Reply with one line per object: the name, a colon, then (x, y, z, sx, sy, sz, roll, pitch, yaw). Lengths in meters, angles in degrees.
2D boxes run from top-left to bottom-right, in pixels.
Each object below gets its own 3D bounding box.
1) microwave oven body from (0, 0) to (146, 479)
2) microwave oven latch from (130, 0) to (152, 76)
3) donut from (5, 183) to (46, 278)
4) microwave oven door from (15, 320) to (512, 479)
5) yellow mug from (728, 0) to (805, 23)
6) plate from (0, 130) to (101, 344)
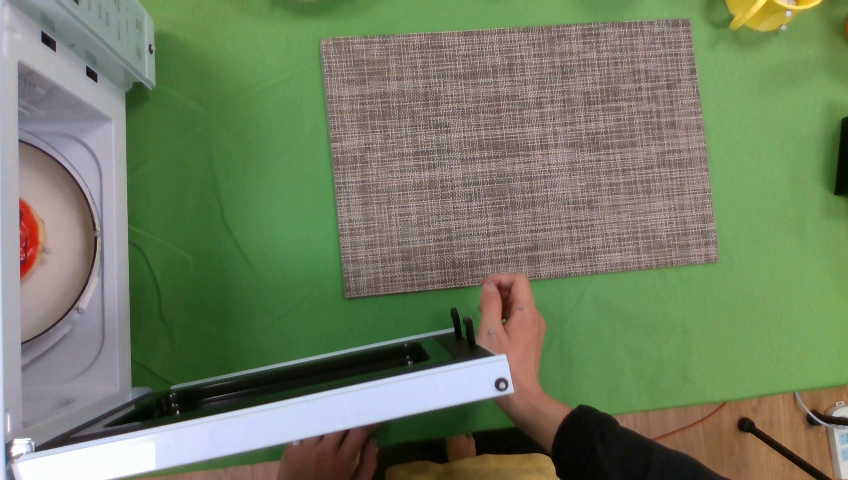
microwave oven body: (-0.438, -0.040, 0.530, 0.326, 0.260, 0.441, -2, 88, -6)
microwave oven latch: (-0.307, -0.218, 0.646, 0.030, 0.029, 0.079, 0, 88, -6)
donut: (-0.412, -0.009, 0.573, 0.099, 0.048, 0.099, 0, 93, -2)
microwave oven door: (-0.117, 0.134, 0.549, 0.356, 0.244, 0.039, -11, 87, -6)
yellow mug: (0.413, -0.311, 0.723, 0.100, 0.064, 0.131, 43, 86, -2)
plate: (-0.417, -0.001, 0.583, 0.209, 0.038, 0.209, 0, 88, -6)
